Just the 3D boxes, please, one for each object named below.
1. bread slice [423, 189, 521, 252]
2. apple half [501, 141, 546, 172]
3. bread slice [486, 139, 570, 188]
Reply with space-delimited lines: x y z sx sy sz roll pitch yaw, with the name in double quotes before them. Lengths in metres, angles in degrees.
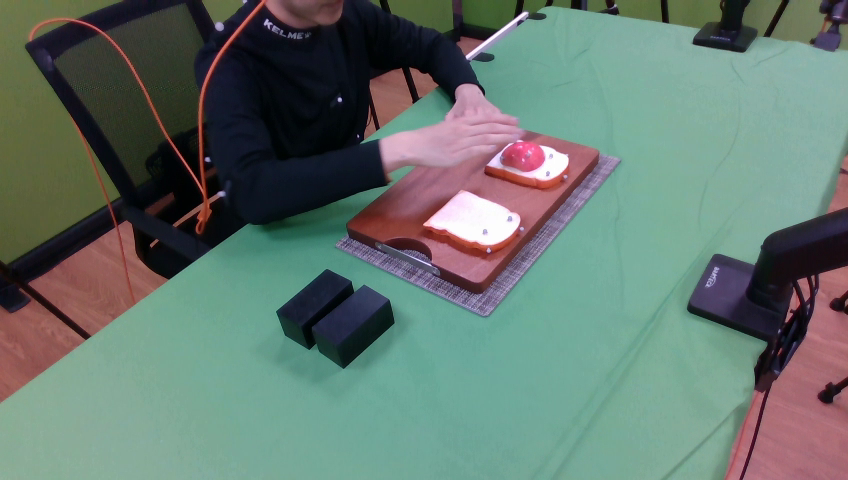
"bread slice" 0.084 -0.030 0.949 0.133 0.018 0.107 22 49 28
"apple half" 0.174 -0.154 1.048 0.081 0.033 0.081 -5 42 5
"bread slice" 0.190 -0.135 1.059 0.130 0.019 0.105 22 50 30
